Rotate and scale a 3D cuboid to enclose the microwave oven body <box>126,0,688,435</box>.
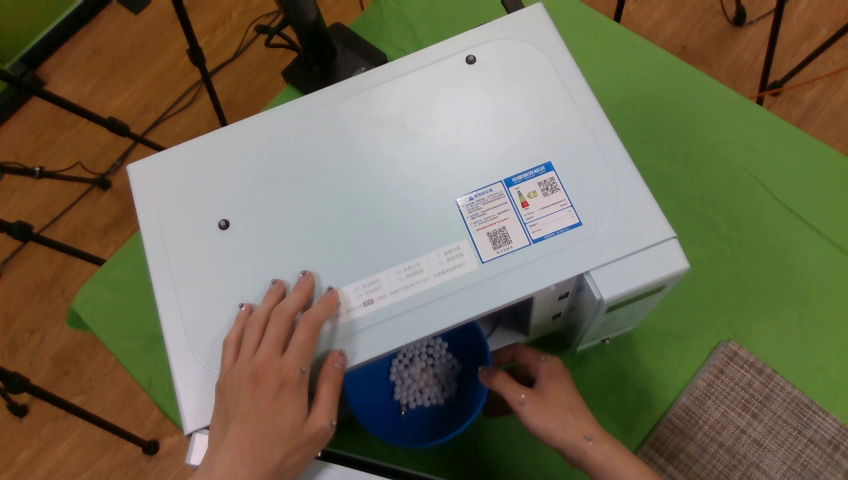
[{"bbox_3d":[-0.024,0.002,0.656,0.442,0.262,0.323,-22,69,-1],"label":"microwave oven body"}]

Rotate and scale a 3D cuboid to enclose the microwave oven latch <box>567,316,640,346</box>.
[{"bbox_3d":[0.206,0.095,0.698,0.079,0.030,0.030,-20,69,0],"label":"microwave oven latch"}]

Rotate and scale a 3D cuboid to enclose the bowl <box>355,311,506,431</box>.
[{"bbox_3d":[0.007,0.123,0.629,0.151,0.077,0.150,0,70,0],"label":"bowl"}]

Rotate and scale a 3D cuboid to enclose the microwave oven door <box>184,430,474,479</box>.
[{"bbox_3d":[-0.006,0.234,0.564,0.355,0.245,0.039,10,72,11],"label":"microwave oven door"}]
